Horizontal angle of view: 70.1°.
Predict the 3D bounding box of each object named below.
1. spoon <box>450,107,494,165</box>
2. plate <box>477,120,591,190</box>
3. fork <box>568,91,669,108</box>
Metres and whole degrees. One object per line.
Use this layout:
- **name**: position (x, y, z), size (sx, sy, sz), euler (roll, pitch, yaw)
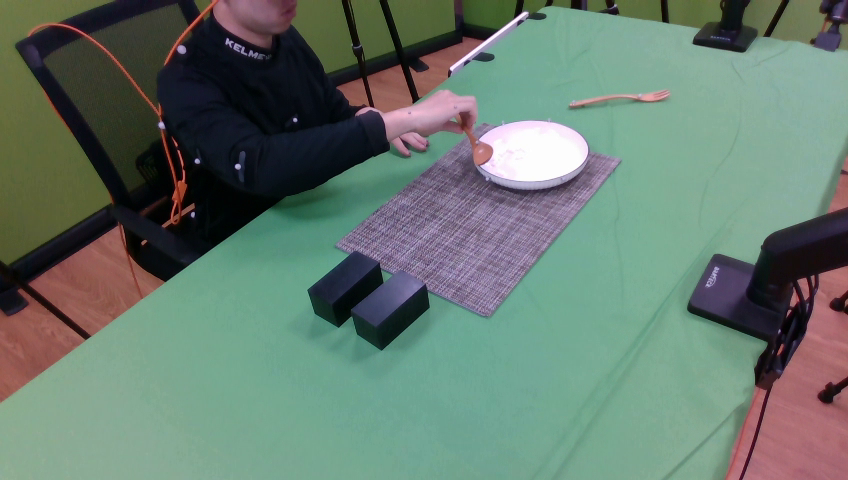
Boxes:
- **spoon**: position (0.082, -0.195, 1.096), size (0.041, 0.022, 0.192), euler (-44, 45, 19)
- **plate**: position (0.196, -0.151, 1.099), size (0.207, 0.039, 0.206), euler (-4, 40, 4)
- **fork**: position (0.402, -0.290, 1.252), size (0.207, 0.019, 0.028), euler (-4, 47, 1)
